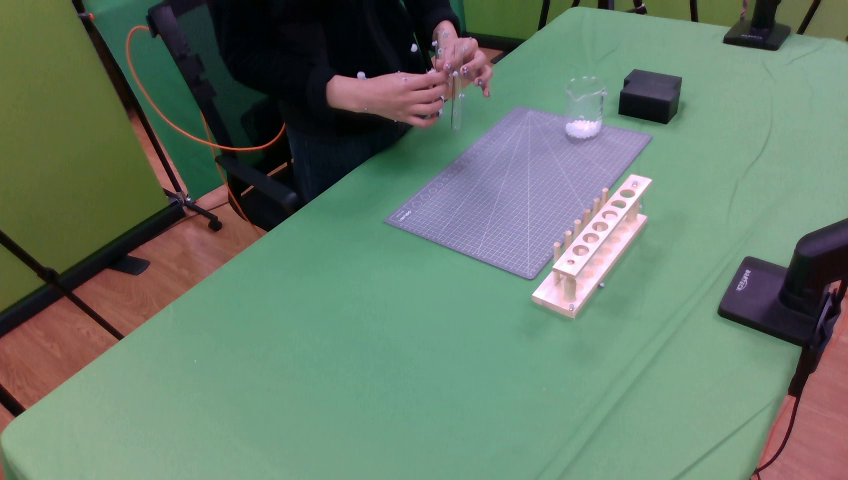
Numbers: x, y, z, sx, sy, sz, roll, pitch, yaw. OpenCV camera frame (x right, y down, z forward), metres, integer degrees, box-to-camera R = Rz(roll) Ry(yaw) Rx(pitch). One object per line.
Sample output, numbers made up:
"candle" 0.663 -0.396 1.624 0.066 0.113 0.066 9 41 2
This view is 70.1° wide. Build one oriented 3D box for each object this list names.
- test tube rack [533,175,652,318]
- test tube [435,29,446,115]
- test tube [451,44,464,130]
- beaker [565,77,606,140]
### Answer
"test tube rack" 0.250 -0.001 0.889 0.066 0.085 0.243 22 49 33
"test tube" 0.027 -0.278 1.012 0.017 0.151 0.017 0 40 0
"test tube" 0.056 -0.255 1.021 0.017 0.151 0.017 1 36 0
"beaker" 0.304 -0.247 1.153 0.073 0.101 0.084 15 46 27
